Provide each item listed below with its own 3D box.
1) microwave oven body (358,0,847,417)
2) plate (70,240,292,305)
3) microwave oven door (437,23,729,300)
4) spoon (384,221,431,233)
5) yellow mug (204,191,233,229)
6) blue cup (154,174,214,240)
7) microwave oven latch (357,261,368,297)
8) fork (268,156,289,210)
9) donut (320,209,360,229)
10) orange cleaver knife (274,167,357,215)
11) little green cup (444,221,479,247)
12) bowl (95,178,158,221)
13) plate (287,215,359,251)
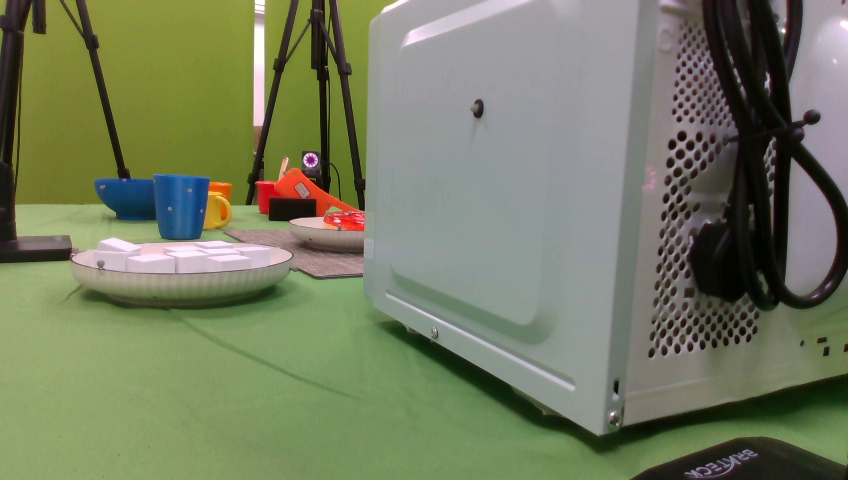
[{"bbox_3d":[0.211,-0.047,0.474,0.444,0.260,0.324,-1,7,-28],"label":"microwave oven body"},{"bbox_3d":[-0.242,0.031,0.618,0.208,0.039,0.207,2,8,0],"label":"plate"},{"bbox_3d":[0.181,-0.072,0.621,0.358,0.243,0.039,-2,9,-29],"label":"microwave oven door"},{"bbox_3d":[-0.024,-0.029,1.187,0.041,0.021,0.194,-12,0,23],"label":"spoon"},{"bbox_3d":[-0.415,-0.057,1.132,0.130,0.064,0.100,6,8,16],"label":"yellow mug"},{"bbox_3d":[-0.391,-0.053,0.978,0.093,0.100,0.092,3,6,0],"label":"blue cup"},{"bbox_3d":[-0.019,0.033,0.531,0.079,0.029,0.030,-1,7,-27],"label":"microwave oven latch"},{"bbox_3d":[-0.360,-0.144,1.508,0.028,0.018,0.207,1,49,0],"label":"fork"},{"bbox_3d":[-0.115,-0.023,0.961,0.099,0.048,0.099,5,9,0],"label":"donut"},{"bbox_3d":[-0.238,-0.091,1.381,0.212,0.077,0.012,31,0,-19],"label":"orange cleaver knife"},{"bbox_3d":[0.064,-0.011,1.035,0.061,0.038,0.061,1,9,0],"label":"little green cup"},{"bbox_3d":[-0.576,-0.081,1.217,0.151,0.077,0.151,3,8,0],"label":"bowl"},{"bbox_3d":[-0.111,-0.012,0.960,0.209,0.038,0.209,3,8,0],"label":"plate"}]
